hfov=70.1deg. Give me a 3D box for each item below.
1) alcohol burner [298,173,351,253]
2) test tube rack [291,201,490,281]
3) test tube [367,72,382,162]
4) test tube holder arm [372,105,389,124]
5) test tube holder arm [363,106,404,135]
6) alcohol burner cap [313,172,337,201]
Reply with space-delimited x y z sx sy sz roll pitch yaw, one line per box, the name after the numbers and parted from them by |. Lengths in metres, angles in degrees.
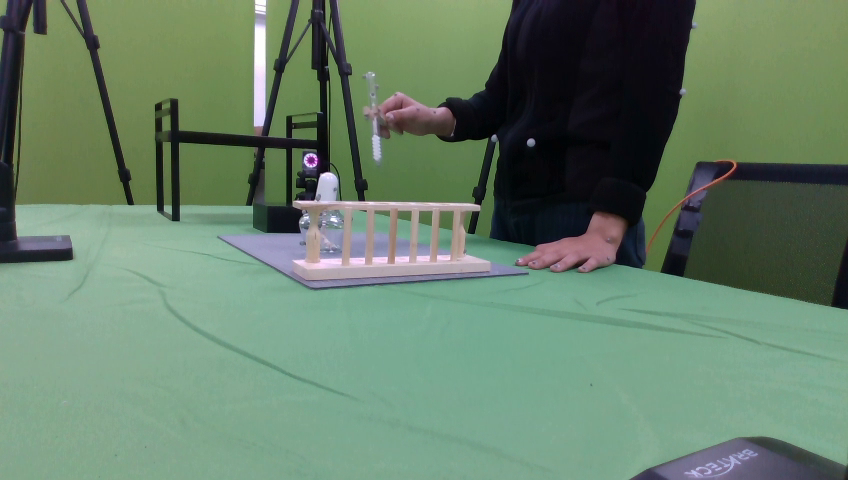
-0.146 -0.040 0.894 0.078 0.119 0.078 5 7 0 | alcohol burner
-0.035 -0.002 0.745 0.243 0.085 0.066 -1 8 -28 | test tube rack
-0.082 -0.204 1.003 0.017 0.150 0.017 -5 -2 0 | test tube
-0.073 -0.211 1.024 0.010 0.015 0.088 -5 -2 8 | test tube holder arm
-0.068 -0.210 1.069 0.013 0.015 0.179 -4 -2 16 | test tube holder arm
-0.144 -0.076 0.888 0.034 0.048 0.034 8 6 -1 | alcohol burner cap
